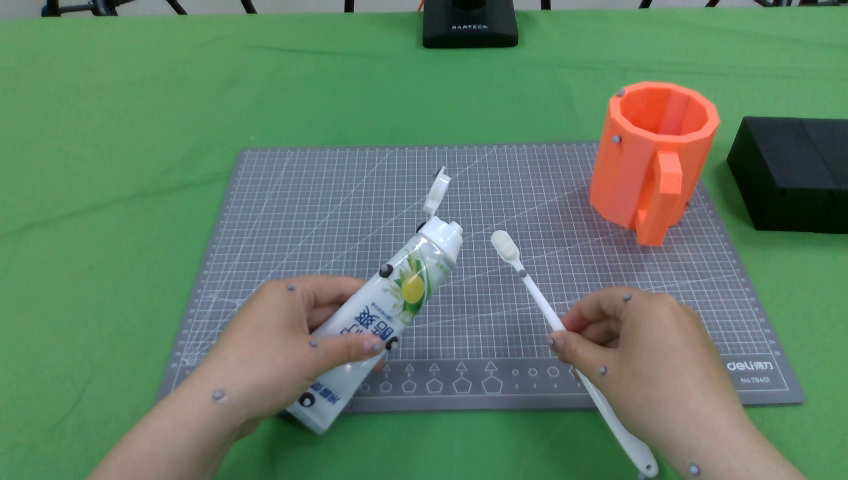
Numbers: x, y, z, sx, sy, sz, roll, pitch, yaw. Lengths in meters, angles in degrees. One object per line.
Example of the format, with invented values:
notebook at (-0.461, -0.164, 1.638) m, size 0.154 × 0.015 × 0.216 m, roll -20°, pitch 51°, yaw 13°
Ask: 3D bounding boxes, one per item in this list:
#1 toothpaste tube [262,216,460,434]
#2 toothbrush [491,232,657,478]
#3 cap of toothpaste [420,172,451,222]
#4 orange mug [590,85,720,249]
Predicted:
toothpaste tube at (-0.033, 0.049, 0.403) m, size 0.055 × 0.034 × 0.165 m, roll 42°, pitch 82°, yaw -9°
toothbrush at (0.095, 0.070, 0.389) m, size 0.014 × 0.017 × 0.181 m, roll -32°, pitch 80°, yaw -1°
cap of toothpaste at (0.010, -0.029, 0.419) m, size 0.011 × 0.037 × 0.037 m, roll 26°, pitch 51°, yaw 12°
orange mug at (0.192, -0.057, 0.510) m, size 0.083 × 0.102 × 0.125 m, roll 5°, pitch 42°, yaw 7°
